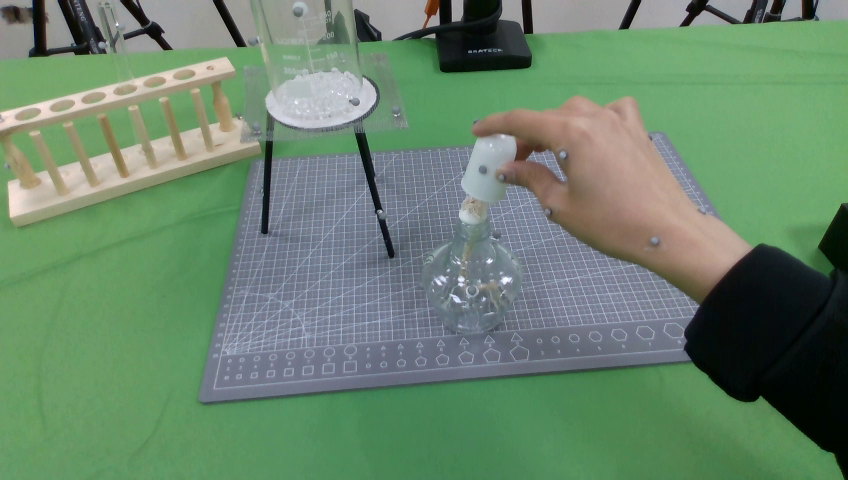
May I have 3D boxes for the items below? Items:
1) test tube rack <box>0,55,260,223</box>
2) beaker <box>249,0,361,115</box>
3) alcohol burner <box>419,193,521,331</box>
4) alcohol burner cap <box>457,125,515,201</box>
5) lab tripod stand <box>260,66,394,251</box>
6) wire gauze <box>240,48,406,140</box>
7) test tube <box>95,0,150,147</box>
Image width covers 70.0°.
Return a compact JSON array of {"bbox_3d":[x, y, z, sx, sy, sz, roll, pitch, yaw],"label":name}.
[{"bbox_3d":[-0.301,-0.106,0.610,0.243,0.086,0.066,-21,47,-19],"label":"test tube rack"},{"bbox_3d":[-0.088,-0.150,0.445,0.084,0.101,0.073,-3,43,1],"label":"beaker"},{"bbox_3d":[0.035,0.012,0.452,0.078,0.120,0.077,-1,42,1],"label":"alcohol burner"},{"bbox_3d":[0.042,-0.053,0.399,0.034,0.048,0.033,9,39,-7],"label":"alcohol burner cap"},{"bbox_3d":[-0.082,-0.070,0.526,0.148,0.133,0.147,-1,46,2],"label":"lab tripod stand"},{"bbox_3d":[-0.084,-0.117,0.481,0.125,0.011,0.120,-10,42,-4],"label":"wire gauze"},{"bbox_3d":[-0.293,-0.160,0.593,0.017,0.151,0.017,2,37,-1],"label":"test tube"}]
